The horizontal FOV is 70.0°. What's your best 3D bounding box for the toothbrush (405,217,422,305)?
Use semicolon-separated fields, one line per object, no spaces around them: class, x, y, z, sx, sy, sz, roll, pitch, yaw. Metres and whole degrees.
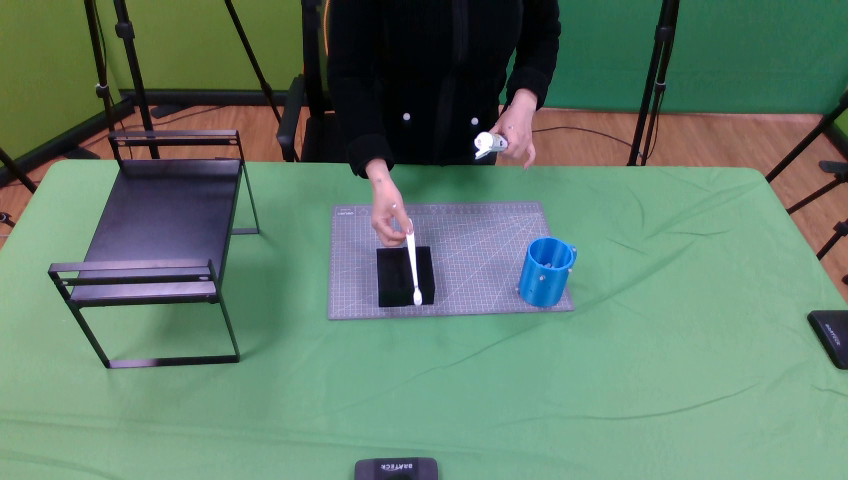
toothbrush;-0.020;0.032;1.062;0.014;0.017;0.180;-12;55;6

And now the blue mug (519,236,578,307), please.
blue mug;0.234;0.052;1.101;0.116;0.106;0.082;-23;52;-24

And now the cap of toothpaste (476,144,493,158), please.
cap of toothpaste;0.107;-0.161;1.089;0.037;0.037;0.011;-29;89;-28

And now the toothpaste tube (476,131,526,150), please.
toothpaste tube;0.146;-0.190;1.166;0.055;0.034;0.165;43;28;18
